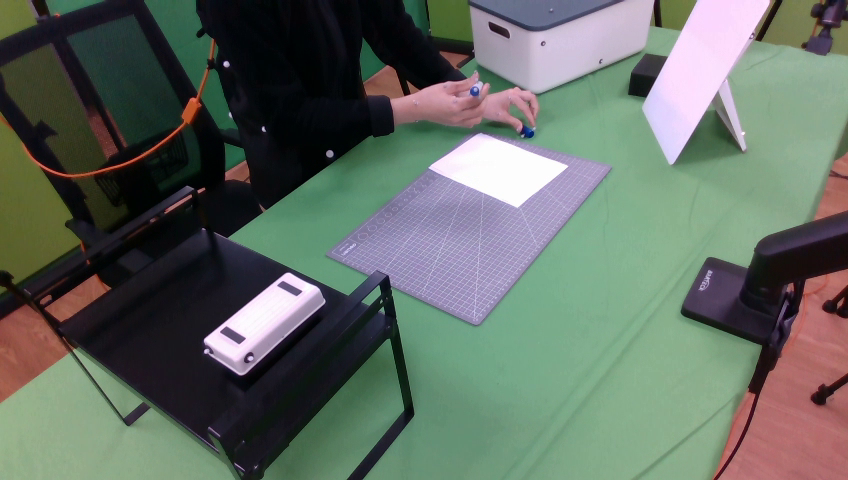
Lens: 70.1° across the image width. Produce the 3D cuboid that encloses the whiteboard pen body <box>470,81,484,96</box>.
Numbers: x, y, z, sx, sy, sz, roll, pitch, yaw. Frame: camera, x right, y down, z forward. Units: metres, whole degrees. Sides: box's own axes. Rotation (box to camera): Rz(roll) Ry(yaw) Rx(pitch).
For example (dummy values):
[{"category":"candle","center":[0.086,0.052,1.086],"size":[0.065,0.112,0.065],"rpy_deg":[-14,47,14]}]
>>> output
[{"category":"whiteboard pen body","center":[0.089,-0.253,1.002],"size":[0.017,0.017,0.140],"rpy_deg":[1,19,9]}]

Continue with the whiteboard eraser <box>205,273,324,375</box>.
[{"category":"whiteboard eraser","center":[-0.157,0.084,0.605],"size":[0.055,0.042,0.113],"rpy_deg":[24,49,30]}]

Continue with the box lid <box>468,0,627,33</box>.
[{"category":"box lid","center":[0.312,-0.554,1.358],"size":[0.373,0.015,0.261],"rpy_deg":[-26,44,-20]}]

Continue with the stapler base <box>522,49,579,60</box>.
[{"category":"stapler base","center":[0.300,-0.441,1.433],"size":[0.130,0.024,0.041],"rpy_deg":[3,22,18]}]

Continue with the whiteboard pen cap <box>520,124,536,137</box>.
[{"category":"whiteboard pen cap","center":[0.207,-0.218,1.205],"size":[0.018,0.018,0.033],"rpy_deg":[-24,41,-19]}]

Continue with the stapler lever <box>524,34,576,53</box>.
[{"category":"stapler lever","center":[0.297,-0.463,1.424],"size":[0.117,0.040,0.027],"rpy_deg":[5,23,17]}]

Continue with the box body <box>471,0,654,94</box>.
[{"category":"box body","center":[0.319,-0.498,1.405],"size":[0.365,0.161,0.252],"rpy_deg":[-26,43,-21]}]

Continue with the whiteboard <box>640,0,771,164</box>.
[{"category":"whiteboard","center":[0.543,-0.299,1.076],"size":[0.144,0.305,0.216],"rpy_deg":[12,40,-7]}]

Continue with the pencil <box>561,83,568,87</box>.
[{"category":"pencil","center":[0.248,-0.393,1.398],"size":[0.193,0.012,0.012],"rpy_deg":[31,53,24]}]
